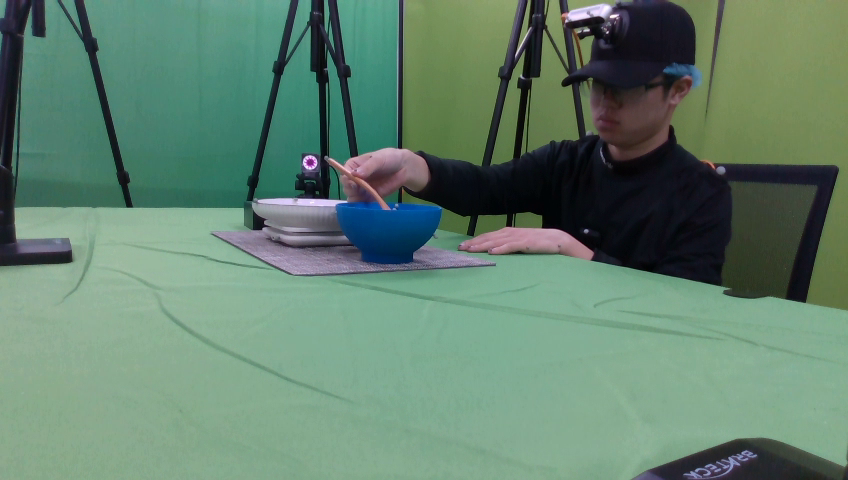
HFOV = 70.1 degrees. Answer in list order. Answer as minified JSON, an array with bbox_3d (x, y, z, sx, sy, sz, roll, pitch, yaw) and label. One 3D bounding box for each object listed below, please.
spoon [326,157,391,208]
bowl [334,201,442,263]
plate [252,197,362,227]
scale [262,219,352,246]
[{"bbox_3d":[-0.075,-0.067,0.868,0.193,0.021,0.042,43,16,22],"label":"spoon"},{"bbox_3d":[-0.051,-0.012,0.848,0.151,0.077,0.151,2,7,0],"label":"bowl"},{"bbox_3d":[-0.179,-0.047,1.012,0.209,0.038,0.209,2,6,0],"label":"plate"},{"bbox_3d":[-0.160,-0.015,1.028,0.202,0.031,0.148,-2,8,-32],"label":"scale"}]
